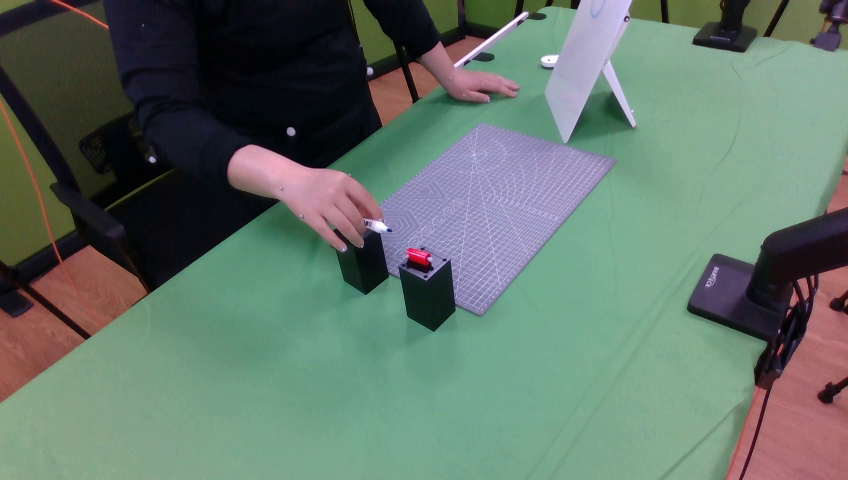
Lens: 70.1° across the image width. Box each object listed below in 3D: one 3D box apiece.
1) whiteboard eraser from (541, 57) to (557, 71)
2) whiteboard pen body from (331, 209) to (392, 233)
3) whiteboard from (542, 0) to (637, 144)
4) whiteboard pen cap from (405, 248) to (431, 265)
[{"bbox_3d":[0.323,-0.412,1.407,0.101,0.019,0.041,1,42,11],"label":"whiteboard eraser"},{"bbox_3d":[-0.086,-0.025,0.827,0.017,0.017,0.139,-35,31,-29],"label":"whiteboard pen body"},{"bbox_3d":[0.366,-0.351,1.160,0.144,0.305,0.216,10,39,-10],"label":"whiteboard"},{"bbox_3d":[-0.008,0.021,0.794,0.032,0.017,0.017,18,46,28],"label":"whiteboard pen cap"}]
